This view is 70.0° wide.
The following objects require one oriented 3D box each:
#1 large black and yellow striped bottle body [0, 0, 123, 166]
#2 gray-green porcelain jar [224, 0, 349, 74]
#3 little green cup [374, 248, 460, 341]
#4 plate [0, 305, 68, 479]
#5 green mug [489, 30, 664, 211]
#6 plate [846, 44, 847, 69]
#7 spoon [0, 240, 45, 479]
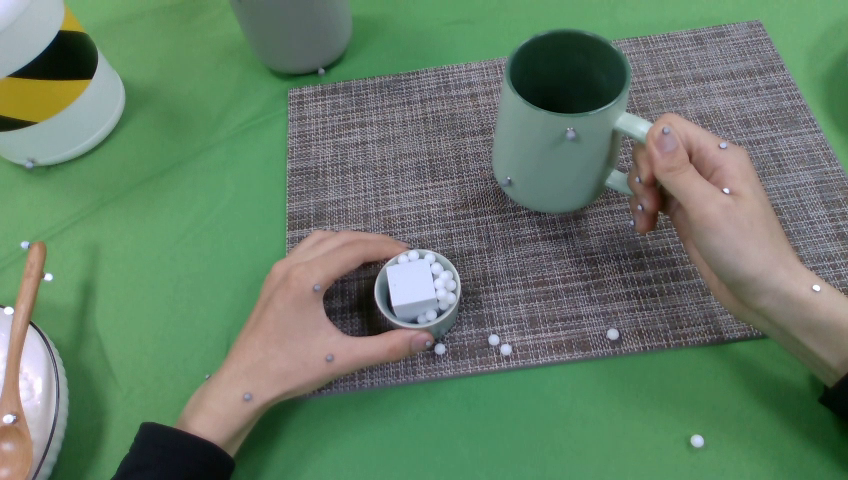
[{"bbox_3d":[-0.363,-0.165,0.512,0.131,0.185,0.129,-3,60,5],"label":"large black and yellow striped bottle body"},{"bbox_3d":[-0.129,-0.227,0.557,0.106,0.127,0.105,-2,60,5],"label":"gray-green porcelain jar"},{"bbox_3d":[-0.003,0.042,0.437,0.061,0.039,0.061,-3,58,5],"label":"little green cup"},{"bbox_3d":[-0.346,0.143,0.421,0.209,0.038,0.207,-2,60,5],"label":"plate"},{"bbox_3d":[0.107,-0.073,0.426,0.124,0.106,0.092,31,65,20],"label":"green mug"},{"bbox_3d":[0.454,-0.133,0.493,0.207,0.039,0.206,-3,60,5],"label":"plate"},{"bbox_3d":[-0.290,0.086,0.430,0.041,0.022,0.192,-6,69,1],"label":"spoon"}]
